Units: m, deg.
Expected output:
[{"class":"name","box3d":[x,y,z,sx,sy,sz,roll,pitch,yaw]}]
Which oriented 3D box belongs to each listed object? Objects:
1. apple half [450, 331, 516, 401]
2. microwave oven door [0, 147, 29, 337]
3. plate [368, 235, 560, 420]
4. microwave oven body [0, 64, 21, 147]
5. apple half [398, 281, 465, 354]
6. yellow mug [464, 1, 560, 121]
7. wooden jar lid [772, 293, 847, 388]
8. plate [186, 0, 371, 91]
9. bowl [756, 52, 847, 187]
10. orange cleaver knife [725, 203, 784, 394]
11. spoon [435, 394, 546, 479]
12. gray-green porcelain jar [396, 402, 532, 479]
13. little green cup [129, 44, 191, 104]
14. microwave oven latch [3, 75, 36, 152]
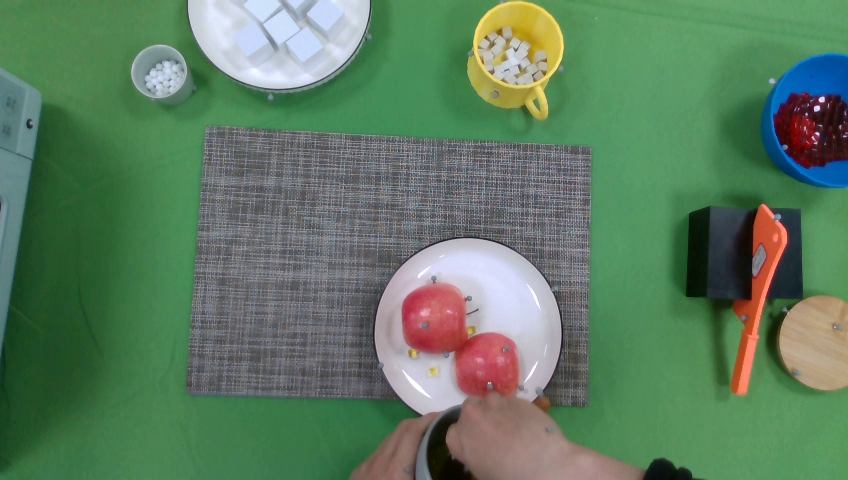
[{"class":"apple half","box3d":[0.066,0.139,0.663,0.081,0.033,0.081,1,81,-3]},{"class":"microwave oven door","box3d":[-0.466,0.070,0.536,0.039,0.244,0.355,6,84,-1]},{"class":"plate","box3d":[0.043,0.099,0.672,0.209,0.038,0.208,0,85,-3]},{"class":"microwave oven body","box3d":[-0.607,0.013,0.540,0.326,0.260,0.440,6,85,-2]},{"class":"apple half","box3d":[0.008,0.084,0.657,0.075,0.053,0.080,0,85,0]},{"class":"yellow mug","box3d":[0.105,-0.197,0.691,0.100,0.064,0.130,-26,87,-5]},{"class":"wooden jar lid","box3d":[0.453,0.116,0.701,0.108,0.021,0.108,0,85,-1]},{"class":"plate","box3d":[-0.164,-0.270,0.701,0.208,0.039,0.207,0,85,-2]},{"class":"bowl","box3d":[0.442,-0.128,0.693,0.151,0.077,0.151,0,85,-2]},{"class":"orange cleaver knife","box3d":[0.355,0.066,0.670,0.012,0.077,0.212,4,108,1]},{"class":"spoon","box3d":[0.057,0.189,0.556,0.022,0.194,0.041,2,52,-26]},{"class":"gray-green porcelain jar","box3d":[0.031,0.231,0.580,0.106,0.127,0.105,10,48,-11]},{"class":"little green cup","box3d":[-0.295,-0.185,0.685,0.061,0.038,0.061,0,85,-3]},{"class":"microwave oven latch","box3d":[-0.446,-0.138,0.657,0.030,0.029,0.079,9,85,-2]}]
